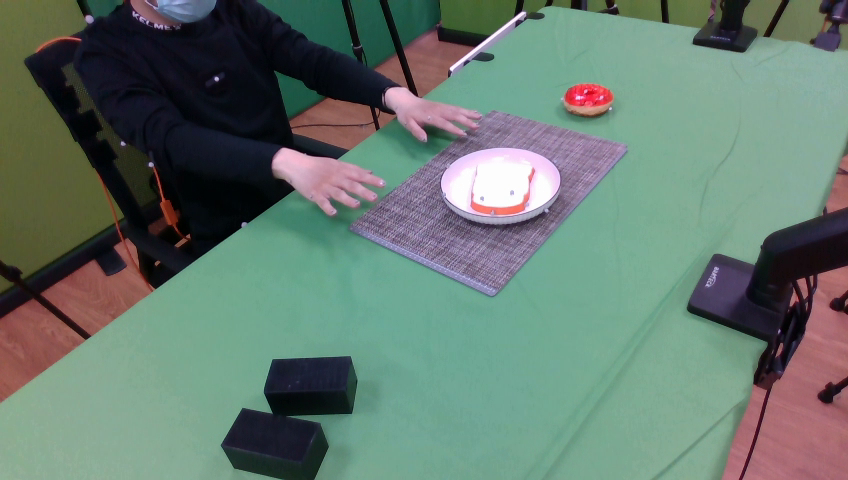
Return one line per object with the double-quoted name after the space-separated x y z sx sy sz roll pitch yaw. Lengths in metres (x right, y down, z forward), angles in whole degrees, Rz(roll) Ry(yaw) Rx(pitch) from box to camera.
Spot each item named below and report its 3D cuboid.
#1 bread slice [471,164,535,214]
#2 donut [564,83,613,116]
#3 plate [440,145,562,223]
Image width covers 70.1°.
0.134 -0.090 1.038 0.104 0.019 0.131 3 41 13 "bread slice"
0.336 -0.288 1.239 0.099 0.048 0.098 -3 39 3 "donut"
0.131 -0.093 1.040 0.207 0.039 0.206 -4 41 4 "plate"
